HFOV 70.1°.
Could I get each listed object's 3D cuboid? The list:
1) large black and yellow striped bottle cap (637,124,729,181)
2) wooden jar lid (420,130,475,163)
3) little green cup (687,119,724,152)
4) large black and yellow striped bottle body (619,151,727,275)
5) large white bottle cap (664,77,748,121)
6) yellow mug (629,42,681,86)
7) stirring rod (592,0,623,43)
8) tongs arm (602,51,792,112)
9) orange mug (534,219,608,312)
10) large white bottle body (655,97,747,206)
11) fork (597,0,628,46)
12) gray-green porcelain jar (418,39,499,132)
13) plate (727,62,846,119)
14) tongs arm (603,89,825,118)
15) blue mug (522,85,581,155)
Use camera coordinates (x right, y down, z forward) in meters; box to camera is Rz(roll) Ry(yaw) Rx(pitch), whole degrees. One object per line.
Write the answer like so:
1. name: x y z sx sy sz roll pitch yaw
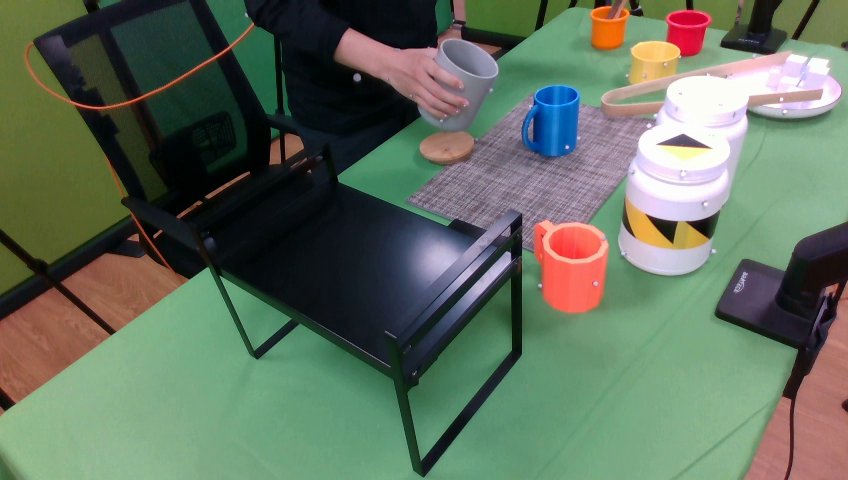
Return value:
1. large black and yellow striped bottle cap: 0.346 -0.119 0.810 0.115 0.019 0.114 -5 41 4
2. wooden jar lid: 0.047 -0.183 1.183 0.108 0.021 0.108 -6 37 5
3. little green cup: 0.514 -0.191 1.109 0.061 0.039 0.061 -5 40 5
4. large black and yellow striped bottle body: 0.354 -0.056 0.865 0.131 0.185 0.130 -4 41 4
5. large white bottle cap: 0.421 -0.212 0.905 0.115 0.018 0.114 -4 40 4
6. yellow mug: 0.495 -0.388 1.321 0.100 0.064 0.130 -14 40 -6
7. stirring rod: 0.460 -0.557 1.461 0.014 0.176 0.006 35 11 22
8. tongs arm: 0.552 -0.320 1.223 0.384 0.027 0.050 -10 43 7
9. orange mug: 0.200 0.027 0.858 0.084 0.101 0.125 -24 48 -18
10. large white bottle body: 0.430 -0.148 0.959 0.130 0.185 0.130 -4 41 4
11. fork: 0.479 -0.558 1.455 0.028 0.019 0.207 36 100 39
12. gray-green porcelain jar: 0.054 -0.258 1.030 0.106 0.126 0.105 16 44 -15
13. plate: 0.709 -0.292 1.197 0.207 0.039 0.206 -4 40 4
14. tongs arm: 0.545 -0.263 1.162 0.386 0.028 0.028 -1 48 18
15. blue mug: 0.233 -0.218 1.127 0.117 0.106 0.081 -23 43 -16
